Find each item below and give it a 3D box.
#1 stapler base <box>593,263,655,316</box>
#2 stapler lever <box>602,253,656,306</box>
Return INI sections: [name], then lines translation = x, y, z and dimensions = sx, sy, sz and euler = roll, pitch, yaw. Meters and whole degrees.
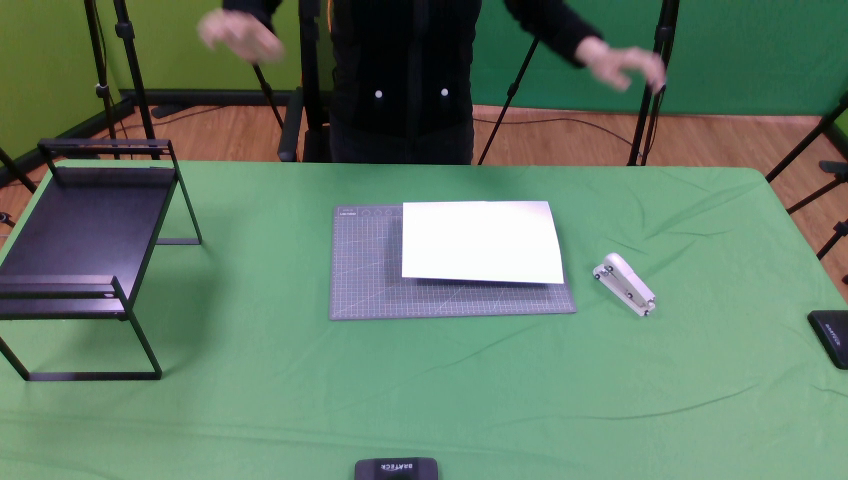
[stapler base]
translation = 0.377, 0.086, 1.141
dimensions = 0.041, 0.024, 0.130
euler = -27, 55, -23
[stapler lever]
translation = 0.379, 0.070, 1.123
dimensions = 0.027, 0.040, 0.117
euler = -28, 54, -23
